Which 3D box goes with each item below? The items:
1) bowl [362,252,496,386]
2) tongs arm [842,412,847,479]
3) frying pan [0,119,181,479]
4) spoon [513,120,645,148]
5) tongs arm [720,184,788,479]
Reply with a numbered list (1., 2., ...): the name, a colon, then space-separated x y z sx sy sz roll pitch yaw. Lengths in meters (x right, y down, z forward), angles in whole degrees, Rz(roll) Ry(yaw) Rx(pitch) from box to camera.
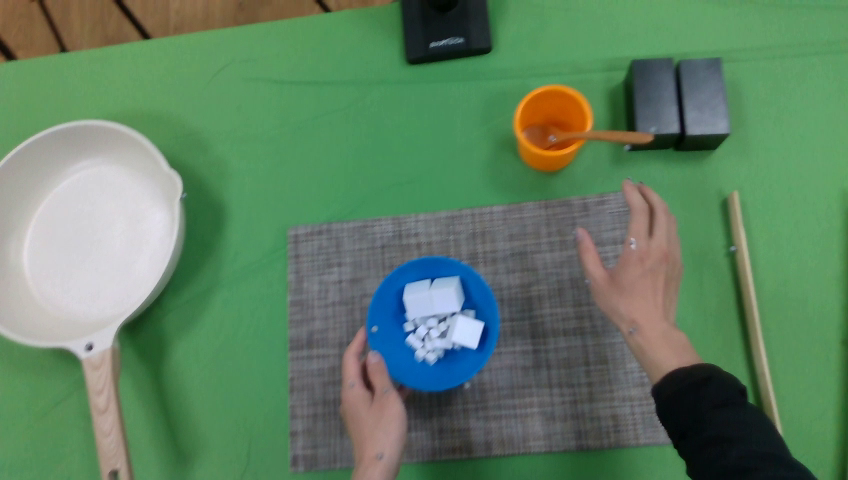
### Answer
1. bowl: 0.009 0.094 0.709 0.151 0.077 0.150 -1 77 6
2. tongs arm: 0.466 0.121 0.681 0.050 0.026 0.383 6 79 9
3. frying pan: -0.414 0.079 0.748 0.307 0.103 0.483 -22 67 2
4. spoon: 0.174 -0.125 0.710 0.022 0.192 0.041 38 78 -30
5. tongs arm: 0.386 0.121 0.695 0.028 0.028 0.385 -7 77 3
